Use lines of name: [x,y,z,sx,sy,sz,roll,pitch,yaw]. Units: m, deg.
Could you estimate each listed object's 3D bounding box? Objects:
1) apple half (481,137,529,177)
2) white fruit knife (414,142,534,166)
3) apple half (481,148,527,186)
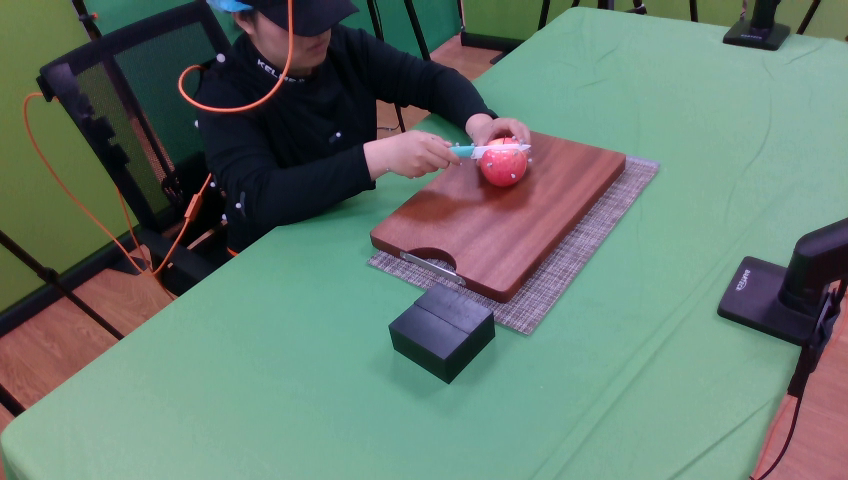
apple half: [0.141,-0.142,1.043,0.080,0.075,0.053,-5,36,15]
white fruit knife: [0.080,-0.148,1.018,0.207,0.027,0.016,-5,37,13]
apple half: [0.134,-0.116,1.014,0.081,0.081,0.032,-1,39,11]
